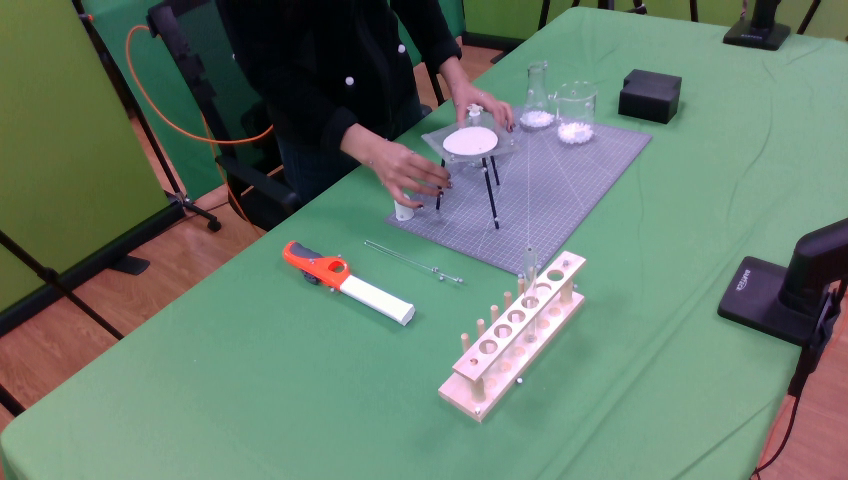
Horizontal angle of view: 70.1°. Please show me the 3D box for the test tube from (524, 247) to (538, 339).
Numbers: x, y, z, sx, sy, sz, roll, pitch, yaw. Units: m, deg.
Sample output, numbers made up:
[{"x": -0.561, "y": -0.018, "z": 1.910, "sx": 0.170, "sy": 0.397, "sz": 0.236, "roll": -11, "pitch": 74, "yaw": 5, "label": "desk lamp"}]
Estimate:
[{"x": 0.133, "y": 0.070, "z": 0.749, "sx": 0.017, "sy": 0.151, "sz": 0.017, "roll": -5, "pitch": 38, "yaw": 4, "label": "test tube"}]

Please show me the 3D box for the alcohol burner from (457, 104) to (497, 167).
[{"x": 0.099, "y": -0.198, "z": 1.124, "sx": 0.078, "sy": 0.119, "sz": 0.077, "roll": -5, "pitch": 38, "yaw": 4, "label": "alcohol burner"}]

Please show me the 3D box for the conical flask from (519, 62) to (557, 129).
[{"x": 0.225, "y": -0.287, "z": 1.198, "sx": 0.075, "sy": 0.122, "sz": 0.075, "roll": -6, "pitch": 40, "yaw": 5, "label": "conical flask"}]

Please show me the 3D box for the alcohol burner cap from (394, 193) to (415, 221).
[{"x": -0.036, "y": -0.059, "z": 1.040, "sx": 0.034, "sy": 0.048, "sz": 0.033, "roll": -6, "pitch": 41, "yaw": 6, "label": "alcohol burner cap"}]

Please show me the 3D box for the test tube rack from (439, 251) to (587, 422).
[{"x": 0.118, "y": 0.111, "z": 0.780, "sx": 0.066, "sy": 0.085, "sz": 0.243, "roll": 26, "pitch": 51, "yaw": 35, "label": "test tube rack"}]

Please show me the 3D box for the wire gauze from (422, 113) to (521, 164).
[{"x": 0.073, "y": -0.161, "z": 0.964, "sx": 0.125, "sy": 0.011, "sz": 0.120, "roll": -18, "pitch": 39, "yaw": -10, "label": "wire gauze"}]

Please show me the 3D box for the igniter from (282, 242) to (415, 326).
[{"x": -0.126, "y": 0.062, "z": 0.931, "sx": 0.274, "sy": 0.025, "sz": 0.057, "roll": 24, "pitch": 61, "yaw": 33, "label": "igniter"}]

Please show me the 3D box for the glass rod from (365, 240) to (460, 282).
[{"x": -0.022, "y": 0.032, "z": 0.961, "sx": 0.198, "sy": 0.008, "sz": 0.008, "roll": 21, "pitch": 49, "yaw": 35, "label": "glass rod"}]

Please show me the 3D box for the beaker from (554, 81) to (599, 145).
[{"x": 0.286, "y": -0.236, "z": 1.144, "sx": 0.084, "sy": 0.101, "sz": 0.073, "roll": -17, "pitch": 40, "yaw": -7, "label": "beaker"}]

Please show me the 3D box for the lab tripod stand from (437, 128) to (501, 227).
[{"x": 0.087, "y": -0.111, "z": 1.007, "sx": 0.148, "sy": 0.132, "sz": 0.147, "roll": -6, "pitch": 38, "yaw": 5, "label": "lab tripod stand"}]
